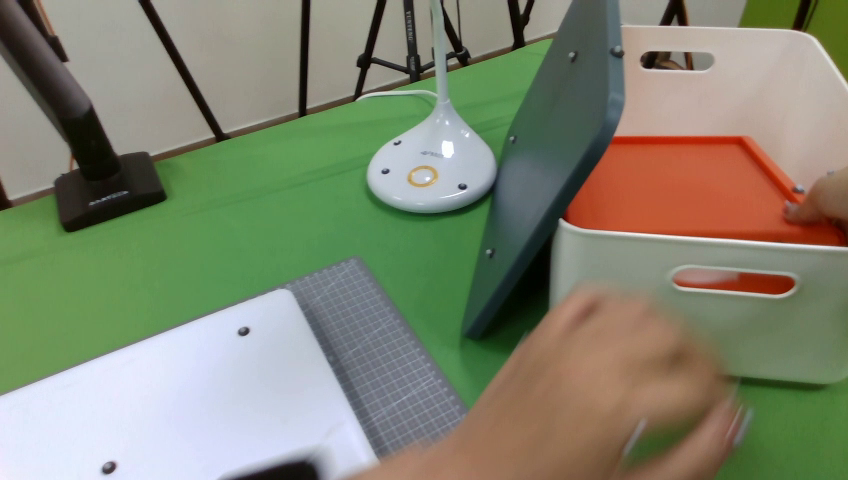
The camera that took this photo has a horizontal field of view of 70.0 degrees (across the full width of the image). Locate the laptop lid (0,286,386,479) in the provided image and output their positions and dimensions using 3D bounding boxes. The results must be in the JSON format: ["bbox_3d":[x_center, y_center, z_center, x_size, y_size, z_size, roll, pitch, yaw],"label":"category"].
[{"bbox_3d":[-0.232,0.170,0.451,0.357,0.013,0.239,-20,46,-18],"label":"laptop lid"}]

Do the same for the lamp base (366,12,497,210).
[{"bbox_3d":[0.005,-0.155,0.698,0.160,0.182,0.178,4,40,10],"label":"lamp base"}]

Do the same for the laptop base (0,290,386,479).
[{"bbox_3d":[-0.232,0.177,0.460,0.355,0.023,0.233,-22,47,-19],"label":"laptop base"}]

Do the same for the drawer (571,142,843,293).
[{"bbox_3d":[0.233,-0.026,0.564,0.194,0.074,0.210,0,30,10],"label":"drawer"}]

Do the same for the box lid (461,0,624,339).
[{"bbox_3d":[0.114,-0.104,0.580,0.015,0.264,0.368,22,43,-3],"label":"box lid"}]

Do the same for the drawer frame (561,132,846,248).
[{"bbox_3d":[0.231,-0.028,0.567,0.201,0.083,0.212,0,29,7],"label":"drawer frame"}]

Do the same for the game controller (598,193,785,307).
[{"bbox_3d":[0.232,0.006,0.535,0.155,0.052,0.096,-3,60,7],"label":"game controller"}]

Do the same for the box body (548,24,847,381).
[{"bbox_3d":[0.251,-0.057,0.577,0.253,0.162,0.361,4,42,11],"label":"box body"}]
